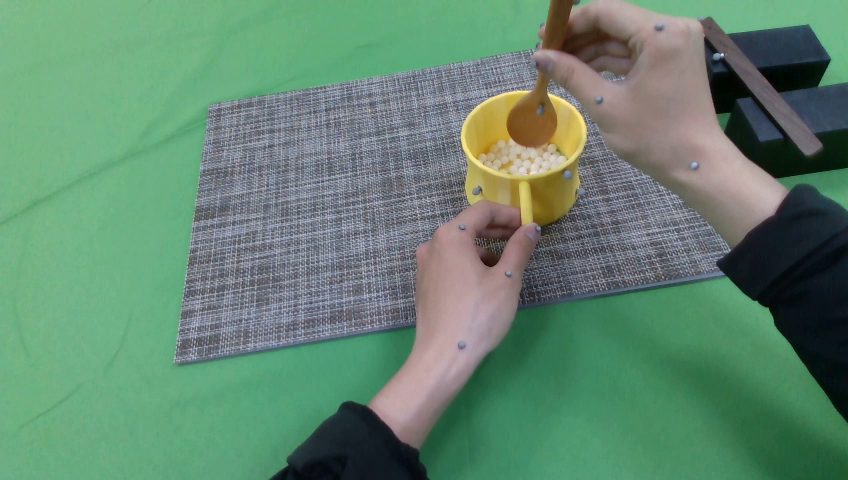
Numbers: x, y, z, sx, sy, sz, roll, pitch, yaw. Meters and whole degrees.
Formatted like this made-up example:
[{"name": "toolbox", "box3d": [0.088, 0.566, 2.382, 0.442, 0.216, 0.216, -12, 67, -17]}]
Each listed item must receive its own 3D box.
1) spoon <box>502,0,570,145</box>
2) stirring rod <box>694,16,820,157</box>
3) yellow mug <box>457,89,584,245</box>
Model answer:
[{"name": "spoon", "box3d": [0.081, -0.116, 0.416, 0.041, 0.195, 0.021, 14, 76, 6]}, {"name": "stirring rod", "box3d": [0.271, -0.133, 0.503, 0.014, 0.006, 0.174, -36, 50, 26]}, {"name": "yellow mug", "box3d": [0.080, -0.056, 0.497, 0.100, 0.064, 0.129, -3, 55, 7]}]
